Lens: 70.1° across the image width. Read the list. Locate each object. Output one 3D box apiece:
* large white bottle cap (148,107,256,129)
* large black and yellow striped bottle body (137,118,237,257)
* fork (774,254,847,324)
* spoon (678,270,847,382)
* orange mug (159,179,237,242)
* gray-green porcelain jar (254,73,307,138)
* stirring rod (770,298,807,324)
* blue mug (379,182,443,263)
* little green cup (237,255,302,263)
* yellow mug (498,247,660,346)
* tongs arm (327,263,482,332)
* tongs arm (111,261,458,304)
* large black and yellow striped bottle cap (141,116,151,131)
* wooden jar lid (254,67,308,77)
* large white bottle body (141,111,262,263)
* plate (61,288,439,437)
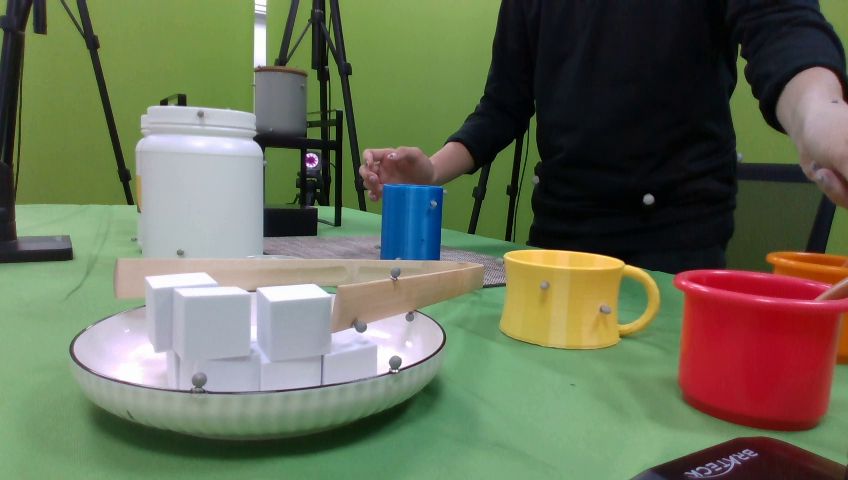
[{"bbox_3d":[-0.250,-0.137,0.686,0.115,0.018,0.115,2,8,0],"label":"large white bottle cap"},{"bbox_3d":[-0.330,-0.075,0.849,0.131,0.184,0.130,2,8,0],"label":"large black and yellow striped bottle body"},{"bbox_3d":[0.317,0.015,0.440,0.028,0.207,0.018,-8,54,-9],"label":"fork"},{"bbox_3d":[0.229,0.031,0.338,0.193,0.021,0.042,-44,-17,27],"label":"spoon"},{"bbox_3d":[-0.368,-0.051,0.991,0.127,0.101,0.083,-10,14,-41],"label":"orange mug"},{"bbox_3d":[-0.298,-0.277,1.259,0.106,0.126,0.106,3,8,0],"label":"gray-green porcelain jar"},{"bbox_3d":[0.351,0.020,0.469,0.175,0.006,0.014,-43,-14,33],"label":"stirring rod"},{"bbox_3d":[-0.020,-0.025,0.833,0.082,0.106,0.116,1,7,-7],"label":"blue mug"},{"bbox_3d":[-0.150,0.038,0.590,0.061,0.038,0.061,3,6,0],"label":"little green cup"},{"bbox_3d":[0.130,0.045,0.508,0.131,0.064,0.100,4,7,6],"label":"yellow mug"},{"bbox_3d":[-0.003,0.036,0.493,0.050,0.026,0.386,1,0,19],"label":"tongs arm"},{"bbox_3d":[-0.080,0.032,0.527,0.028,0.027,0.389,-3,-3,33],"label":"tongs arm"},{"bbox_3d":[-0.328,-0.158,0.837,0.115,0.019,0.115,2,6,0],"label":"large black and yellow striped bottle cap"},{"bbox_3d":[-0.296,-0.339,1.251,0.108,0.020,0.108,2,7,0],"label":"wooden jar lid"},{"bbox_3d":[-0.254,-0.053,0.697,0.131,0.184,0.130,2,7,0],"label":"large white bottle body"},{"bbox_3d":[-0.095,0.069,0.362,0.208,0.039,0.207,3,7,0],"label":"plate"}]
